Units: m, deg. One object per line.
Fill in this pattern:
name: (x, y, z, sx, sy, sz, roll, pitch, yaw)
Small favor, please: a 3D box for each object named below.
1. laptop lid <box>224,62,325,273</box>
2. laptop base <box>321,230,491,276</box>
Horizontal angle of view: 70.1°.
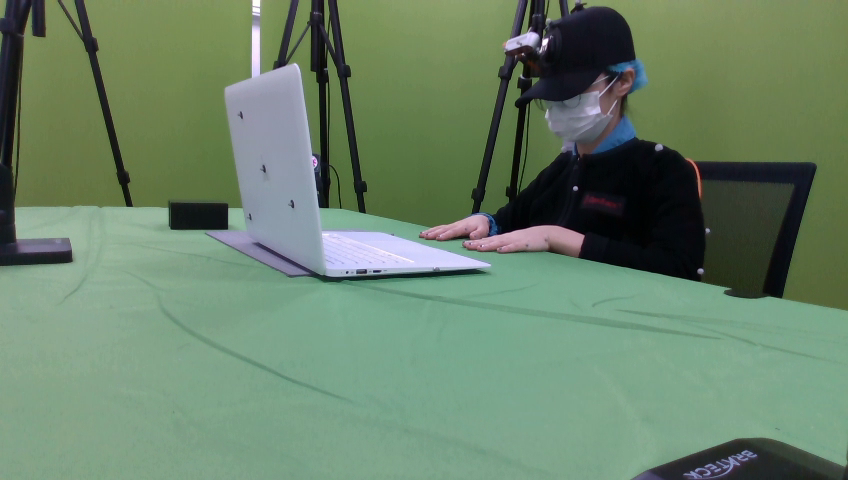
laptop lid: (-0.210, -0.097, 0.804, 0.013, 0.241, 0.355, -12, 15, -28)
laptop base: (-0.095, 0.015, 0.888, 0.237, 0.023, 0.352, 2, 7, -30)
